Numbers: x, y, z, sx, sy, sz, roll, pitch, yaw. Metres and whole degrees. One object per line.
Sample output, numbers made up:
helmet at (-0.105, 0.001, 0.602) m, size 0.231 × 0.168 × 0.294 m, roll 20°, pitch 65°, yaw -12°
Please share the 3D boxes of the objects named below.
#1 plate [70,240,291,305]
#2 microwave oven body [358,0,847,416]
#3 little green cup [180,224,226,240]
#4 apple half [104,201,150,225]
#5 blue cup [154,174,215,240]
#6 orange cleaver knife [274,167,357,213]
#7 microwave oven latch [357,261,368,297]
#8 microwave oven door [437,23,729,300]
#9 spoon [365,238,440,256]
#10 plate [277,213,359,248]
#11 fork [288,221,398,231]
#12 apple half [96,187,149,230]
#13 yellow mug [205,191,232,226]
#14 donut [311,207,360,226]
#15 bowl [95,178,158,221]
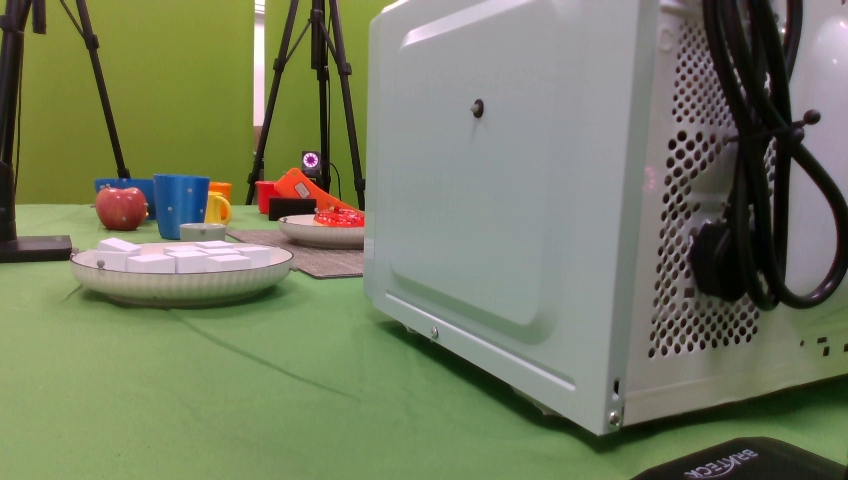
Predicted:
plate at (-0.242, 0.031, 0.618) m, size 0.208 × 0.039 × 0.207 m, roll 2°, pitch 8°, yaw 0°
microwave oven body at (0.211, -0.047, 0.474) m, size 0.444 × 0.260 × 0.324 m, roll -1°, pitch 7°, yaw -28°
little green cup at (-0.309, -0.001, 0.846) m, size 0.061 × 0.038 × 0.061 m, roll 2°, pitch 8°, yaw 0°
apple half at (-0.548, -0.044, 1.115) m, size 0.081 × 0.033 × 0.081 m, roll 18°, pitch 6°, yaw -2°
blue cup at (-0.391, -0.053, 0.978) m, size 0.093 × 0.100 × 0.092 m, roll 4°, pitch 6°, yaw 0°
orange cleaver knife at (-0.238, -0.091, 1.381) m, size 0.212 × 0.077 × 0.012 m, roll 31°, pitch 1°, yaw -19°
microwave oven latch at (-0.019, 0.033, 0.530) m, size 0.079 × 0.029 × 0.030 m, roll -1°, pitch 7°, yaw -26°
microwave oven door at (0.181, -0.072, 0.621) m, size 0.358 × 0.243 × 0.039 m, roll -2°, pitch 8°, yaw -29°
spoon at (-0.023, 0.006, 0.907) m, size 0.041 × 0.021 × 0.194 m, roll -16°, pitch -2°, yaw 30°
plate at (-0.135, -0.017, 0.993) m, size 0.209 × 0.038 × 0.209 m, roll 3°, pitch 8°, yaw 0°
fork at (-0.148, -0.025, 1.120) m, size 0.208 × 0.018 × 0.028 m, roll -3°, pitch 0°, yaw -22°
apple half at (-0.516, -0.052, 1.036) m, size 0.081 × 0.074 × 0.053 m, roll 3°, pitch 11°, yaw -26°
yellow mug at (-0.415, -0.057, 1.131) m, size 0.130 × 0.064 × 0.100 m, roll 6°, pitch 8°, yaw 16°
donut at (-0.137, -0.029, 0.995) m, size 0.099 × 0.048 × 0.099 m, roll 4°, pitch 9°, yaw 0°
bowl at (-0.576, -0.081, 1.217) m, size 0.151 × 0.077 × 0.151 m, roll 3°, pitch 8°, yaw 0°
